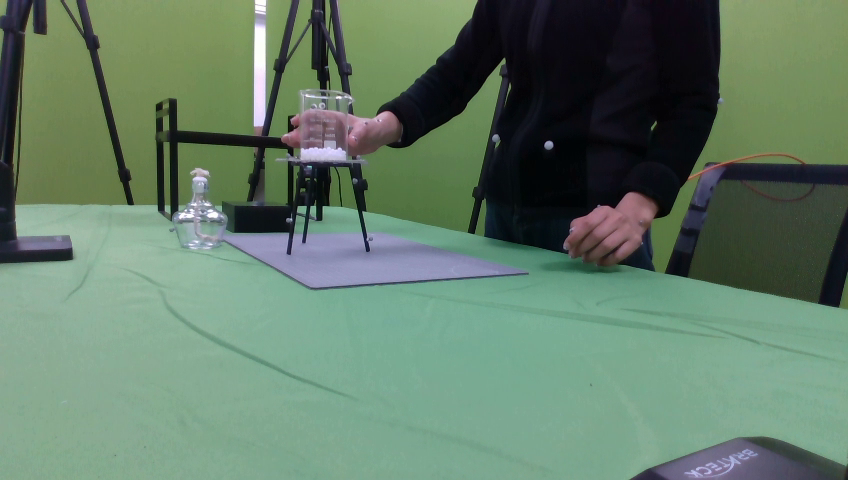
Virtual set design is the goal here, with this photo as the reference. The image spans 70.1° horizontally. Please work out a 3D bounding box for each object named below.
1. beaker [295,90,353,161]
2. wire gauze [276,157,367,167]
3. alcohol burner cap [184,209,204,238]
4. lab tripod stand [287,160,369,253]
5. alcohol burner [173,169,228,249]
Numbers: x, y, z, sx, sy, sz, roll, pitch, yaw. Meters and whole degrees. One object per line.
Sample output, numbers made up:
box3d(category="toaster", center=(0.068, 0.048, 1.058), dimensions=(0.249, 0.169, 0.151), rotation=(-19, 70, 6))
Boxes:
box3d(category="beaker", center=(-0.146, -0.164, 0.884), dimensions=(0.084, 0.100, 0.074), rotation=(1, 7, -6))
box3d(category="wire gauze", center=(-0.148, -0.117, 0.895), dimensions=(0.121, 0.011, 0.125), rotation=(3, 5, -3))
box3d(category="alcohol burner cap", center=(-0.390, -0.029, 1.026), dimensions=(0.034, 0.048, 0.034), rotation=(2, 9, 0))
box3d(category="lab tripod stand", center=(-0.157, -0.053, 0.901), dimensions=(0.148, 0.131, 0.148), rotation=(0, 7, 0))
box3d(category="alcohol burner", center=(-0.333, -0.047, 0.903), dimensions=(0.078, 0.119, 0.078), rotation=(2, 6, 0))
